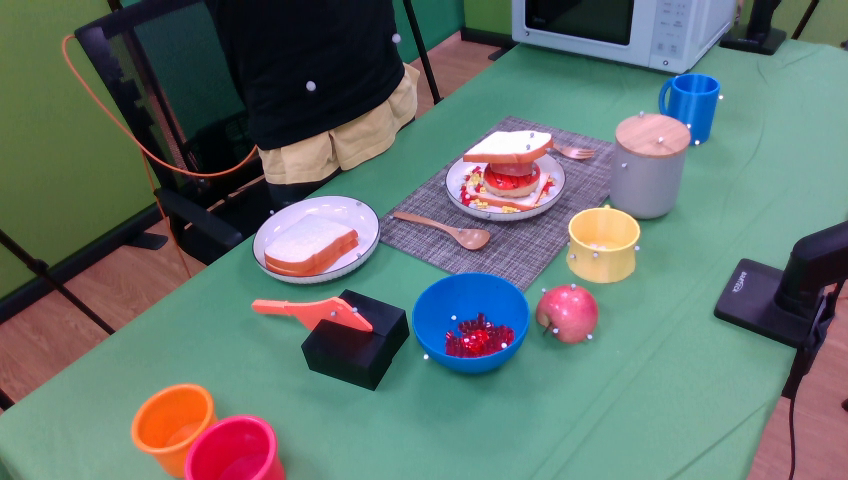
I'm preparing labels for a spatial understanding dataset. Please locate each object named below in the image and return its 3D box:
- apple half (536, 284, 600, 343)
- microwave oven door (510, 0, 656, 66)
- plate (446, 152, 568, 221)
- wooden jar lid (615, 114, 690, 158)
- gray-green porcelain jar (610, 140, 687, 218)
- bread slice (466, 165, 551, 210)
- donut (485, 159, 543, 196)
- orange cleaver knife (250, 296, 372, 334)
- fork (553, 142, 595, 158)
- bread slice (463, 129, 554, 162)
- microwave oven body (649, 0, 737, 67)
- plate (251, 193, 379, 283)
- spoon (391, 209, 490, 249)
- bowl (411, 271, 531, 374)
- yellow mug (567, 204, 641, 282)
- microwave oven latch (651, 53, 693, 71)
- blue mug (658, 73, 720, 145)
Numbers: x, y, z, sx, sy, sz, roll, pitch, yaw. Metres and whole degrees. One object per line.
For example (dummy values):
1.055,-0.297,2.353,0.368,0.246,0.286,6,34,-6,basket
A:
0.196,0.090,0.815,0.075,0.053,0.080,-22,42,-20,apple half
0.350,-0.539,1.348,0.353,0.245,0.039,24,50,31,microwave oven door
0.143,-0.097,1.045,0.207,0.039,0.206,-4,40,4,plate
0.347,-0.155,0.923,0.108,0.021,0.108,-3,44,4,wooden jar lid
0.354,-0.107,0.964,0.106,0.127,0.105,-4,41,4,gray-green porcelain jar
0.141,-0.093,1.041,0.133,0.018,0.107,8,42,20,bread slice
0.151,-0.112,1.018,0.099,0.048,0.098,-4,40,4,donut
-0.159,0.103,0.828,0.210,0.078,0.012,-3,43,39,orange cleaver knife
0.225,-0.186,1.151,0.206,0.019,0.028,21,59,27,fork
0.143,-0.154,0.974,0.130,0.019,0.105,9,35,38,bread slice
0.475,-0.602,1.411,0.438,0.261,0.327,23,50,32,microwave oven body
-0.174,-0.001,0.985,0.209,0.038,0.208,-4,41,4,plate
0.023,-0.025,0.989,0.192,0.022,0.041,20,71,28,spoon
0.062,0.119,0.780,0.151,0.077,0.150,-4,40,4,bowl
0.268,-0.005,0.905,0.099,0.064,0.130,6,42,15,yellow mug
0.532,-0.386,1.301,0.078,0.029,0.030,27,52,34,microwave oven latch
0.483,-0.250,1.127,0.082,0.106,0.115,-26,44,-19,blue mug
